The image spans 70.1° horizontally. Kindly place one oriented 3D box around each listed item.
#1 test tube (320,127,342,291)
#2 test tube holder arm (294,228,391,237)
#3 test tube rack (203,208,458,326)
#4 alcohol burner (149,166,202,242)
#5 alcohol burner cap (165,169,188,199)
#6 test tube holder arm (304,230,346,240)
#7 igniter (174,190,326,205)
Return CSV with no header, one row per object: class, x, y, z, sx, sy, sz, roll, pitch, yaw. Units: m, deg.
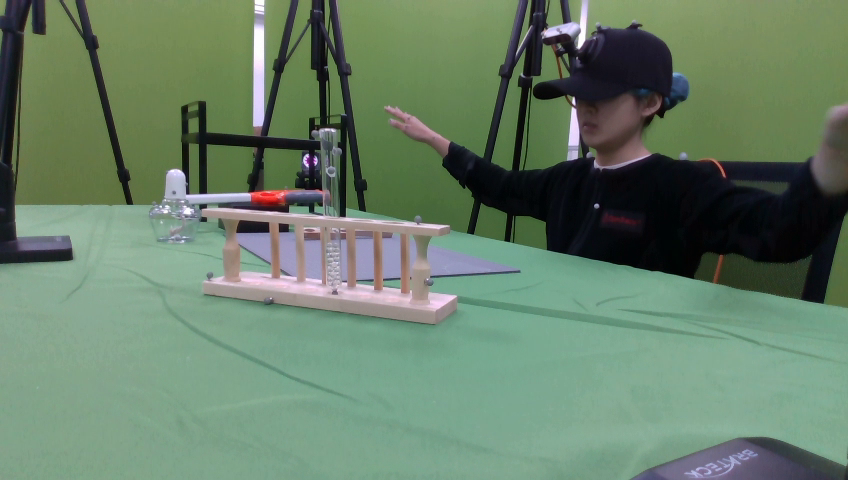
test tube,-0.084,-0.027,0.554,0.017,0.150,0.017,-1,6,0
test tube holder arm,-0.138,-0.013,1.054,0.179,0.015,0.013,-1,44,-32
test tube rack,-0.090,0.019,0.579,0.241,0.085,0.067,5,7,19
alcohol burner,-0.388,-0.056,0.947,0.078,0.119,0.078,5,6,0
alcohol burner cap,-0.386,-0.087,0.943,0.034,0.048,0.034,4,7,0
test tube holder arm,-0.175,-0.009,1.027,0.088,0.015,0.010,0,43,-31
igniter,-0.317,-0.079,1.132,0.278,0.025,0.057,-4,13,-32
